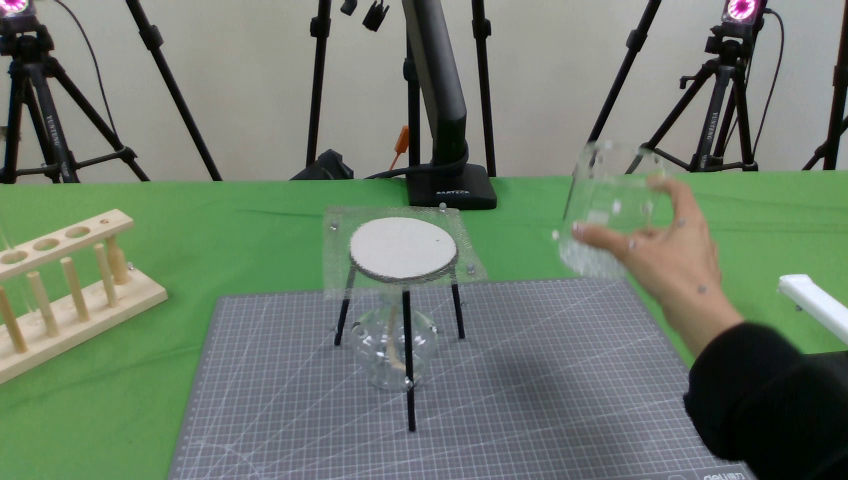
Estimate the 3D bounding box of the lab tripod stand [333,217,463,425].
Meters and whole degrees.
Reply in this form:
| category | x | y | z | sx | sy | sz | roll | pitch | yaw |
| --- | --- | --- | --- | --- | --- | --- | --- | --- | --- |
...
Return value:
| category | x | y | z | sx | sy | sz | roll | pitch | yaw |
| --- | --- | --- | --- | --- | --- | --- | --- | --- | --- |
| lab tripod stand | -0.017 | 0.060 | 0.521 | 0.148 | 0.132 | 0.147 | 3 | 34 | -2 |

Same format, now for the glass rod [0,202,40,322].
| category | x | y | z | sx | sy | sz | roll | pitch | yaw |
| --- | --- | --- | --- | --- | --- | --- | --- | --- | --- |
| glass rod | -0.362 | -0.003 | 0.525 | 0.008 | 0.201 | 0.008 | 5 | 34 | -3 |

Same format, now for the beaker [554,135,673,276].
| category | x | y | z | sx | sy | sz | roll | pitch | yaw |
| --- | --- | --- | --- | --- | --- | --- | --- | --- | --- |
| beaker | 0.154 | -0.027 | 0.506 | 0.084 | 0.101 | 0.073 | 2 | 34 | -6 |

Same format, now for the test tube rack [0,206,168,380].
| category | x | y | z | sx | sy | sz | roll | pitch | yaw |
| --- | --- | --- | --- | --- | --- | --- | --- | --- | --- |
| test tube rack | -0.369 | 0.060 | 0.550 | 0.066 | 0.086 | 0.242 | 25 | 39 | 31 |

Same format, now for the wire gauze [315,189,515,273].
| category | x | y | z | sx | sy | sz | roll | pitch | yaw |
| --- | --- | --- | --- | --- | --- | --- | --- | --- | --- |
| wire gauze | -0.010 | -0.008 | 0.473 | 0.125 | 0.011 | 0.120 | -8 | 30 | -28 |

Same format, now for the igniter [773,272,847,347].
| category | x | y | z | sx | sy | sz | roll | pitch | yaw |
| --- | --- | --- | --- | --- | --- | --- | --- | --- | --- |
| igniter | 0.384 | 0.105 | 0.490 | 0.057 | 0.025 | 0.273 | -3 | 29 | -8 |

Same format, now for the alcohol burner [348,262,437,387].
| category | x | y | z | sx | sy | sz | roll | pitch | yaw |
| --- | --- | --- | --- | --- | --- | --- | --- | --- | --- |
| alcohol burner | -0.027 | 0.069 | 0.525 | 0.078 | 0.120 | 0.077 | 3 | 32 | -2 |
